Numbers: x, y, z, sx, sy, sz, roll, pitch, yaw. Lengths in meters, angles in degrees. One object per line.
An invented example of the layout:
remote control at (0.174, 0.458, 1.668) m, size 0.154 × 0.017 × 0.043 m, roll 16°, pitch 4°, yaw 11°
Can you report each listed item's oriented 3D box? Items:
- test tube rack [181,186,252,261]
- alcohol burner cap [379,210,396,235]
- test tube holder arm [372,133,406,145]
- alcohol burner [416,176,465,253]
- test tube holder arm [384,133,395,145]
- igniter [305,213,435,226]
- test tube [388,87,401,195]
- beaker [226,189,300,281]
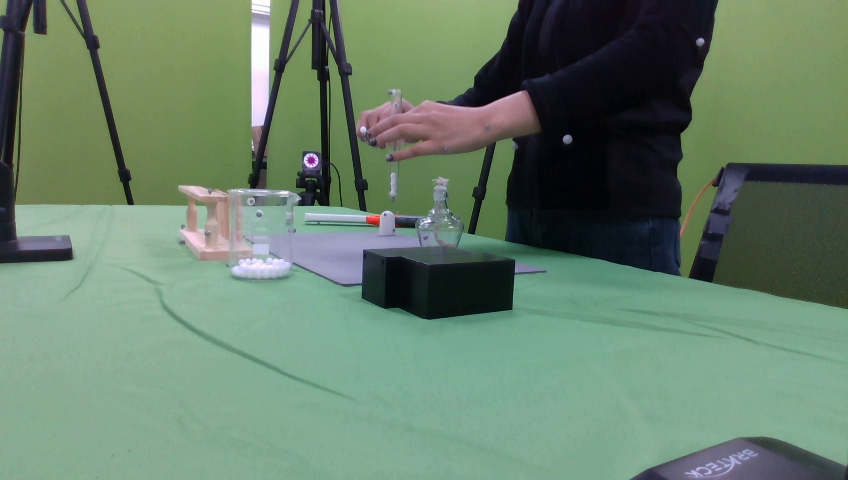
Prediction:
test tube rack at (-0.312, -0.031, 0.893) m, size 0.067 × 0.085 × 0.241 m, roll -1°, pitch 8°, yaw -27°
alcohol burner cap at (-0.067, -0.033, 1.129) m, size 0.034 × 0.048 × 0.034 m, roll 2°, pitch 7°, yaw 0°
test tube holder arm at (-0.055, -0.152, 0.918) m, size 0.013 × 0.015 × 0.178 m, roll 0°, pitch 8°, yaw -16°
alcohol burner at (0.025, -0.040, 0.935) m, size 0.078 × 0.119 × 0.078 m, roll 1°, pitch 6°, yaw 0°
test tube holder arm at (-0.050, -0.146, 0.873) m, size 0.010 × 0.015 × 0.087 m, roll 0°, pitch 8°, yaw -7°
igniter at (-0.114, -0.046, 1.296) m, size 0.277 × 0.025 × 0.057 m, roll 1°, pitch -2°, yaw -11°
test tube at (-0.041, -0.139, 0.853) m, size 0.017 × 0.150 × 0.017 m, roll 2°, pitch 6°, yaw 0°
beaker at (-0.184, -0.007, 0.694) m, size 0.084 × 0.100 × 0.073 m, roll -1°, pitch 8°, yaw -29°
